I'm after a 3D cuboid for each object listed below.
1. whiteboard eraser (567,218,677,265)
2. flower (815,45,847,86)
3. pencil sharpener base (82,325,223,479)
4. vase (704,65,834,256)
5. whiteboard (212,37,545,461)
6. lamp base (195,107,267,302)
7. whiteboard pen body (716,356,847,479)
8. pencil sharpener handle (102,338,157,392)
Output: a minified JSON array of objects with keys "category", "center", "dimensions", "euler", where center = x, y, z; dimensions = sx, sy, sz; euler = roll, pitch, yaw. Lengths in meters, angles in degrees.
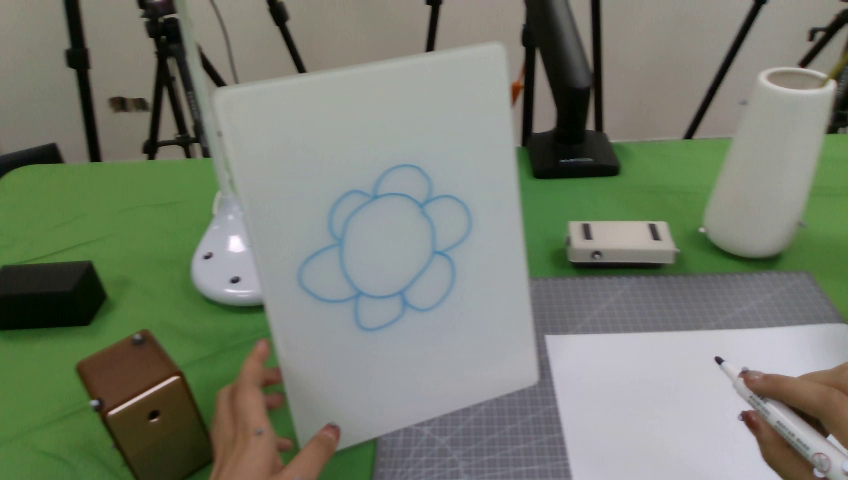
[{"category":"whiteboard eraser","center":[0.222,0.003,0.685],"dimensions":[0.112,0.042,0.055],"euler":[-1,34,6]},{"category":"flower","center":[0.376,-0.138,0.589],"dimensions":[0.044,0.364,0.038],"euler":[-15,55,-26]},{"category":"pencil sharpener base","center":[-0.218,0.134,0.490],"dimensions":[0.061,0.108,0.076],"euler":[-30,44,-30]},{"category":"vase","center":[0.371,-0.080,0.651],"dimensions":[0.098,0.202,0.097],"euler":[-2,37,2]},{"category":"whiteboard","center":[-0.034,-0.002,0.541],"dimensions":[0.217,0.307,0.142],"euler":[-14,19,-12]},{"category":"lamp base","center":[-0.200,-0.049,0.675],"dimensions":[0.177,0.182,0.160],"euler":[25,45,37]},{"category":"whiteboard pen body","center":[0.210,0.107,0.332],"dimensions":[0.017,0.017,0.139],"euler":[-14,32,-13]},{"category":"pencil sharpener handle","center":[-0.251,0.102,0.515],"dimensions":[0.036,0.068,0.030],"euler":[-37,46,-25]}]
